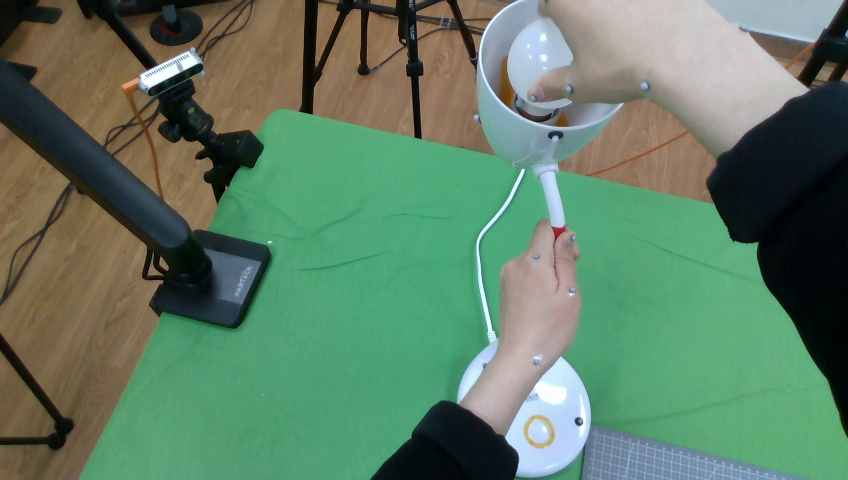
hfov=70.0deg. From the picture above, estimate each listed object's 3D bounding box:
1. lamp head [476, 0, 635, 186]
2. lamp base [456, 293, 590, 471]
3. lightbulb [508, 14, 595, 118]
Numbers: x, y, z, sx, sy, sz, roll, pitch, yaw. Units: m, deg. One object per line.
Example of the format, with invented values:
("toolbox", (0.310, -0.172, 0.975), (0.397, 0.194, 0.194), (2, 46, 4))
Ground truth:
("lamp head", (0.092, -0.106, 0.474), (0.112, 0.123, 0.111), (1, 66, -2))
("lamp base", (0.114, 0.145, 0.663), (0.161, 0.181, 0.177), (-24, 62, -15))
("lightbulb", (0.089, -0.119, 0.445), (0.059, 0.108, 0.059), (0, 76, 1))
